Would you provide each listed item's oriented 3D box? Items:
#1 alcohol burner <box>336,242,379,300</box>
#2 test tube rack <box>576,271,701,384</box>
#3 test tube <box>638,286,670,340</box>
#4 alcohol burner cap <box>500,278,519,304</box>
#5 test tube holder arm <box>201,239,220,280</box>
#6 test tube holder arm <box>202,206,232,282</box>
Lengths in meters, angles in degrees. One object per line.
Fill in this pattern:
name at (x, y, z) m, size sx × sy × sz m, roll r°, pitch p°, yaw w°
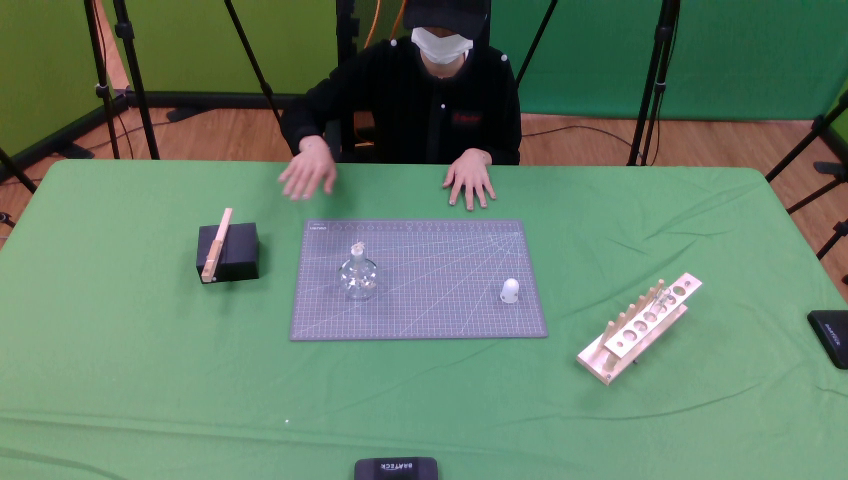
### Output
alcohol burner at (-0.118, 0.050, 1.072) m, size 0.078 × 0.120 × 0.077 m, roll 2°, pitch 44°, yaw -1°
test tube rack at (0.373, 0.138, 1.047) m, size 0.242 × 0.085 × 0.066 m, roll -31°, pitch 56°, yaw -29°
test tube at (0.373, 0.122, 0.994) m, size 0.017 × 0.151 × 0.017 m, roll 0°, pitch 51°, yaw 0°
alcohol burner cap at (0.157, 0.090, 1.104) m, size 0.034 × 0.048 × 0.033 m, roll 2°, pitch 46°, yaw -2°
test tube holder arm at (-0.374, 0.033, 1.064) m, size 0.015 × 0.010 × 0.087 m, roll 1°, pitch 47°, yaw -1°
test tube holder arm at (-0.373, 0.004, 1.099) m, size 0.015 × 0.013 × 0.177 m, roll 1°, pitch 47°, yaw -1°
